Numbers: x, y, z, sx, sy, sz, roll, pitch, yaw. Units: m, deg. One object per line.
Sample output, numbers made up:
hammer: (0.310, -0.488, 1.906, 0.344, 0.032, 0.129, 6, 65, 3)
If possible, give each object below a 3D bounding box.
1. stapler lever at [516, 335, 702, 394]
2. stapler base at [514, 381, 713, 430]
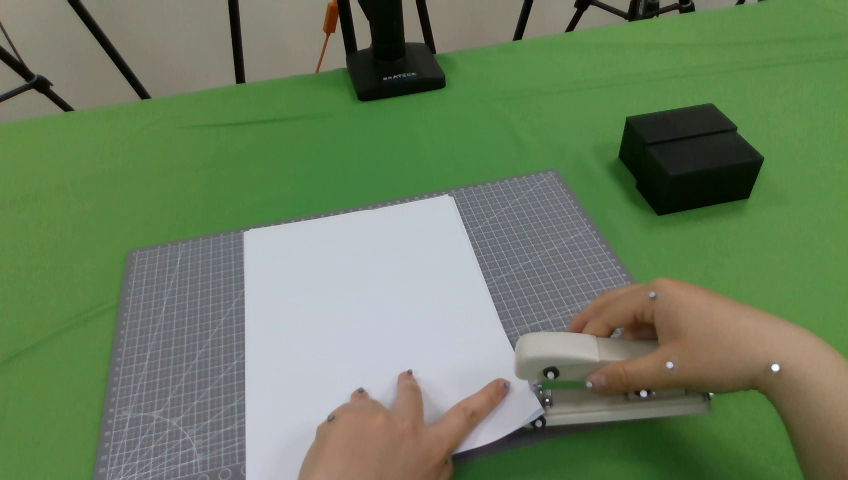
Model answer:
stapler lever: (0.121, 0.081, 0.405, 0.118, 0.040, 0.026, -8, 27, 13)
stapler base: (0.125, 0.104, 0.416, 0.130, 0.024, 0.041, -9, 27, 13)
